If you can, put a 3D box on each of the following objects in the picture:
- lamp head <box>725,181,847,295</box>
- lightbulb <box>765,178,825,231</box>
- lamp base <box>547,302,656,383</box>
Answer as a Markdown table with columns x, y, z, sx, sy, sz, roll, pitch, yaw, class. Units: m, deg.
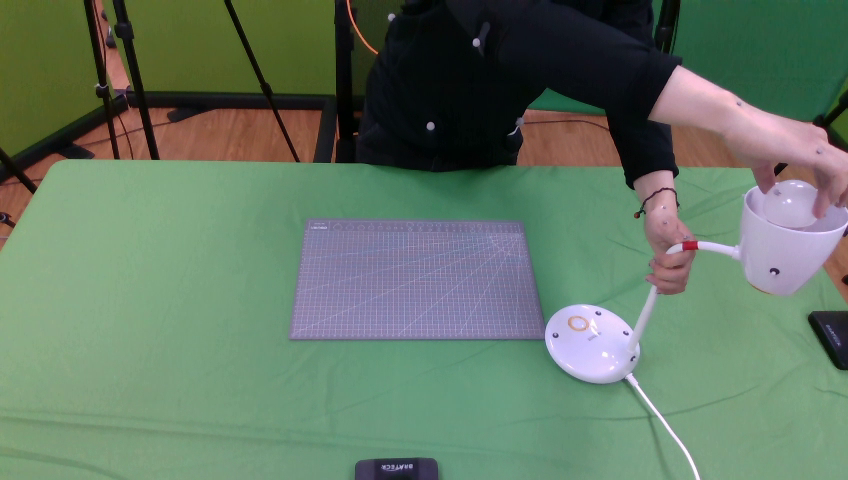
| x | y | z | sx | sy | sz | roll | pitch | yaw | class |
| --- | --- | --- | --- | --- | --- | --- | --- | --- | --- |
| 0.429 | 0.004 | 0.727 | 0.112 | 0.123 | 0.111 | 1 | 39 | 0 | lamp head |
| 0.429 | -0.022 | 0.708 | 0.059 | 0.108 | 0.059 | -8 | 33 | 5 | lightbulb |
| 0.304 | 0.127 | 0.982 | 0.160 | 0.181 | 0.178 | -33 | 59 | -29 | lamp base |
